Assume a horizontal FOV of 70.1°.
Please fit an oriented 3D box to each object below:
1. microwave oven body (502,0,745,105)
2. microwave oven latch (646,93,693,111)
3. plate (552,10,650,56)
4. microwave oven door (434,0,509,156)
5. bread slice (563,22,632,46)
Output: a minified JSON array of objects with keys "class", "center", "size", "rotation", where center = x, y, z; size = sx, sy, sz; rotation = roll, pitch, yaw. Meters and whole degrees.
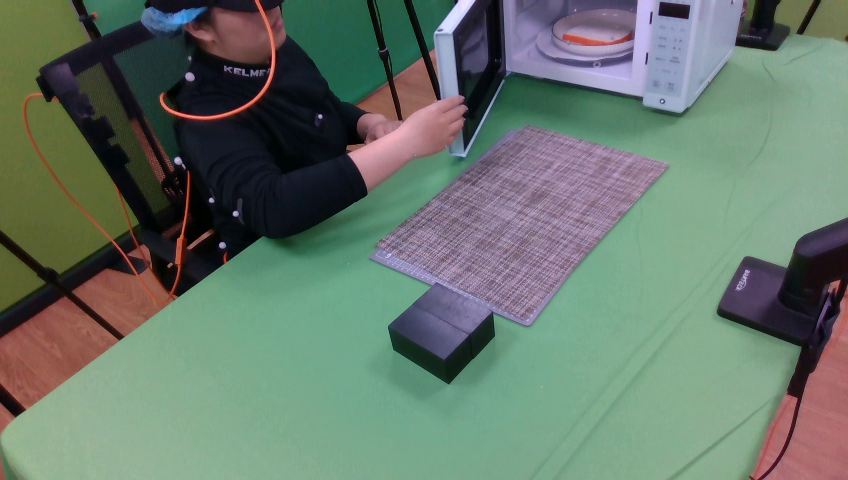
[{"class":"microwave oven body","center":[0.416,-0.486,1.290],"size":[0.438,0.261,0.327],"rotation":[21,50,33]},{"class":"microwave oven latch","center":[0.477,-0.273,1.177],"size":[0.078,0.029,0.030],"rotation":[22,50,33]},{"class":"plate","center":[0.390,-0.455,1.339],"size":[0.209,0.038,0.208],"rotation":[-5,39,5]},{"class":"microwave oven door","center":[0.104,-0.366,1.201],"size":[0.039,0.245,0.355],"rotation":[7,43,20]},{"class":"bread slice","center":[0.393,-0.453,1.343],"size":[0.105,0.019,0.130],"rotation":[-36,43,-27]}]
